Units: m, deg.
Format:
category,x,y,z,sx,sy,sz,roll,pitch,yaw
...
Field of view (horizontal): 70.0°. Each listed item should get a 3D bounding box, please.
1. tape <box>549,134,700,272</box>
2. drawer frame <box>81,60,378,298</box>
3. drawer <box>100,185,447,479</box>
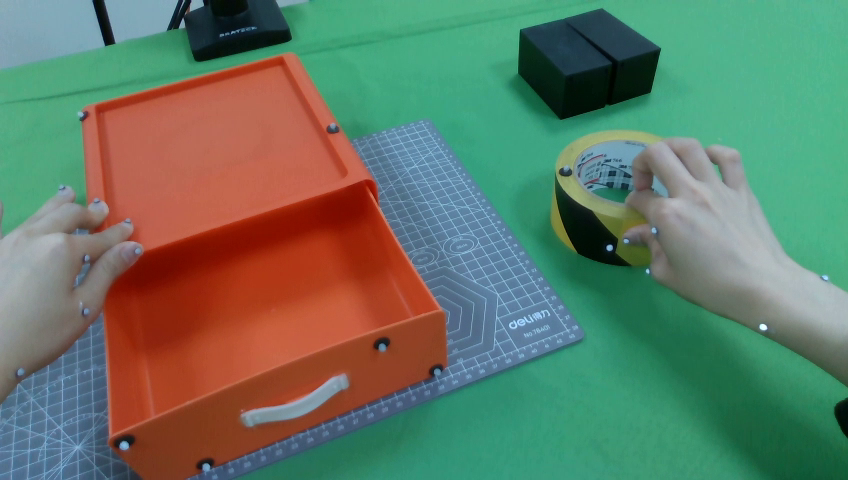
category,x,y,z,sx,sy,sz,roll,pitch,yaw
tape,0.159,-0.034,0.493,0.117,0.053,0.115,-2,45,2
drawer frame,-0.166,-0.048,0.507,0.202,0.083,0.211,-21,47,-14
drawer,-0.114,0.035,0.425,0.195,0.074,0.209,-20,47,-13
